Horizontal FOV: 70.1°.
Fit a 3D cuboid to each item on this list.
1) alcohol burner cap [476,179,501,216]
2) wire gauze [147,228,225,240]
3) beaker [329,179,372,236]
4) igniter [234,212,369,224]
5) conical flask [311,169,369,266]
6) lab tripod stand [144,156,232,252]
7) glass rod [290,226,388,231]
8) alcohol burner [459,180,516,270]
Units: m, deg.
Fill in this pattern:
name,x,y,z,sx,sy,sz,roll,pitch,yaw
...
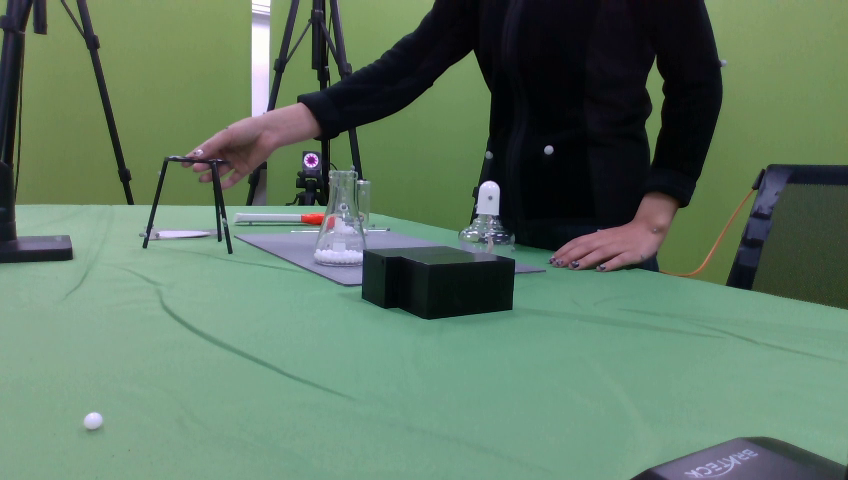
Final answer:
name,x,y,z,sx,sy,sz,roll,pitch,yaw
alcohol burner cap,0.086,-0.056,0.801,0.034,0.048,0.034,4,2,0
wire gauze,-0.400,-0.012,1.018,0.122,0.011,0.124,-1,6,-26
beaker,-0.137,-0.060,1.101,0.084,0.100,0.074,4,7,20
igniter,-0.247,-0.046,1.252,0.278,0.025,0.057,-1,-3,-27
conical flask,-0.107,-0.031,0.786,0.075,0.122,0.075,2,8,0
lab tripod stand,-0.325,-0.054,0.882,0.148,0.131,0.148,4,7,0
glass rod,-0.161,-0.022,1.177,0.201,0.008,0.008,-2,8,-28
alcohol burner,0.085,-0.021,0.805,0.078,0.119,0.078,3,9,0
